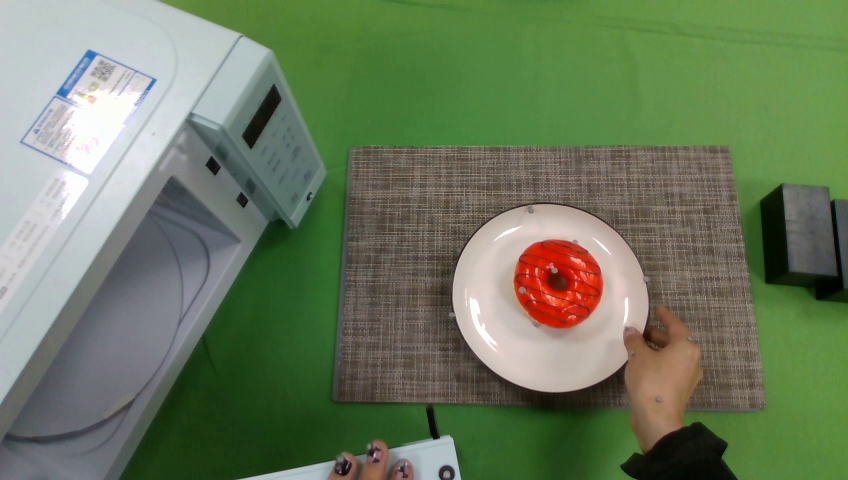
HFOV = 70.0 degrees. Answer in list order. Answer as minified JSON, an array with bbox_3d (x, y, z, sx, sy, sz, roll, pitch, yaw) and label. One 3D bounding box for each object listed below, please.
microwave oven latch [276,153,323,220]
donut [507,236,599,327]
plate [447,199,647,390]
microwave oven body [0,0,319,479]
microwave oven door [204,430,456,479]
[{"bbox_3d":[-0.142,-0.064,0.685,0.030,0.029,0.079,25,76,8],"label":"microwave oven latch"},{"bbox_3d":[0.138,0.044,0.647,0.099,0.048,0.098,0,74,-1],"label":"donut"},{"bbox_3d":[0.130,0.058,0.654,0.209,0.038,0.208,0,72,2],"label":"plate"},{"bbox_3d":[-0.356,-0.001,0.568,0.325,0.261,0.440,24,76,8],"label":"microwave oven body"},{"bbox_3d":[-0.150,0.207,0.495,0.356,0.245,0.039,-11,72,-2],"label":"microwave oven door"}]
